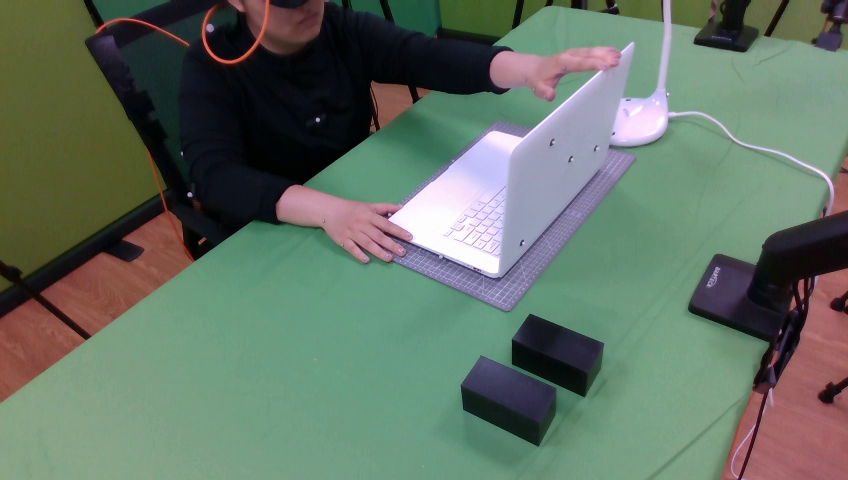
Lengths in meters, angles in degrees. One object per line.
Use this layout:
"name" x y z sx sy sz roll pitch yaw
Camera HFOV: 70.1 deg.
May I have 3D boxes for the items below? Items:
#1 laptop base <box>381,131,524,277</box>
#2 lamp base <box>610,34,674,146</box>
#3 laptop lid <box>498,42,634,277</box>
"laptop base" 0.122 -0.077 1.042 0.233 0.023 0.355 20 48 33
"lamp base" 0.393 -0.291 1.129 0.180 0.181 0.159 -11 41 -8
"laptop lid" 0.215 -0.122 0.899 0.013 0.242 0.358 28 50 26
